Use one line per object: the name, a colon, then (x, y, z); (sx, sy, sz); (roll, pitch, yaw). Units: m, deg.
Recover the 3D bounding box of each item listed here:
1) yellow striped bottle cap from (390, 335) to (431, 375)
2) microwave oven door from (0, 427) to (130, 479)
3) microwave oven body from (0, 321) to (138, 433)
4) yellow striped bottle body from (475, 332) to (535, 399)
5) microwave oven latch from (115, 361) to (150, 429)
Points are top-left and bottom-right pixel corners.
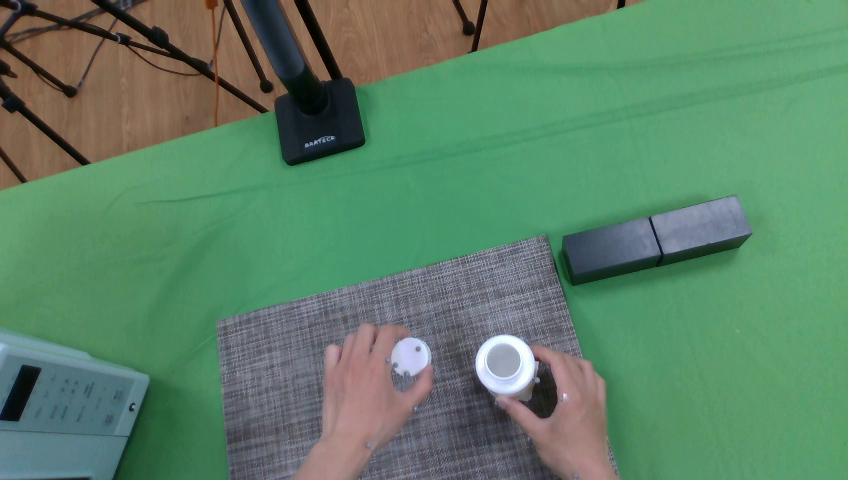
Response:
yellow striped bottle cap: (-0.016, 0.128, 0.675); (0.044, 0.019, 0.044); (-2, 80, 13)
microwave oven door: (-0.452, 0.364, 0.609); (0.039, 0.246, 0.354); (12, 74, 15)
microwave oven body: (-0.579, 0.298, 0.660); (0.325, 0.262, 0.439); (12, 75, 14)
yellow striped bottle body: (0.090, 0.139, 0.666); (0.063, 0.121, 0.062); (-3, 70, 10)
microwave oven latch: (-0.374, 0.195, 0.762); (0.030, 0.030, 0.079); (14, 75, 14)
